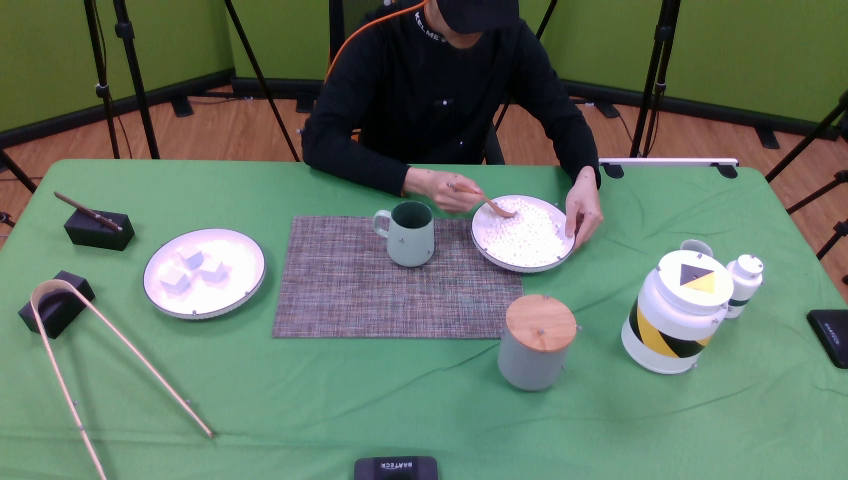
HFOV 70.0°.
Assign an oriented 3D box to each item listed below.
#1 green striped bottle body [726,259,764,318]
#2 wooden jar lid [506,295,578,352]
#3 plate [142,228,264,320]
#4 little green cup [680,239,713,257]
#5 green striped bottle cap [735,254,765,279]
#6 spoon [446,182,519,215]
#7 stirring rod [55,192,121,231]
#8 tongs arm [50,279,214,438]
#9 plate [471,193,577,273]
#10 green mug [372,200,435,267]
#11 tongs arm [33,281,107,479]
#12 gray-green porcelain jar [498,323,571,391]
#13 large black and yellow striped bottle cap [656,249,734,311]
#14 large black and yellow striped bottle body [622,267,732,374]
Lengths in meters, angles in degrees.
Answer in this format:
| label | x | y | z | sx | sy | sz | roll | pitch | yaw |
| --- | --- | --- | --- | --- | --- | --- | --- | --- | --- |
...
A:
| label | x | y | z | sx | sy | sz | roll | pitch | yaw |
| --- | --- | --- | --- | --- | --- | --- | --- | --- | --- |
| green striped bottle body | 0.563 | 0.081 | 1.089 | 0.063 | 0.120 | 0.063 | 2 | 46 | -2 |
| wooden jar lid | 0.179 | 0.129 | 0.926 | 0.108 | 0.021 | 0.107 | 2 | 43 | -2 |
| plate | -0.394 | 0.064 | 1.095 | 0.208 | 0.039 | 0.206 | 2 | 46 | -2 |
| little green cup | 0.530 | 0.033 | 1.190 | 0.061 | 0.039 | 0.061 | 2 | 47 | -2 |
| green striped bottle cap | 0.566 | 0.046 | 1.051 | 0.044 | 0.020 | 0.044 | 0 | 45 | 0 |
| spoon | 0.117 | -0.083 | 1.197 | 0.195 | 0.021 | 0.041 | 23 | 2 | -36 |
| stirring rod | -0.632 | -0.055 | 1.139 | 0.175 | 0.014 | 0.006 | 24 | 50 | 19 |
| tongs arm | -0.459 | 0.178 | 0.949 | 0.386 | 0.028 | 0.028 | 37 | 60 | 17 |
| plate | 0.195 | -0.011 | 1.203 | 0.209 | 0.038 | 0.208 | 2 | 46 | -2 |
| green mug | -0.040 | -0.016 | 1.146 | 0.125 | 0.105 | 0.092 | 17 | 48 | 13 |
| tongs arm | -0.517 | 0.214 | 0.910 | 0.051 | 0.026 | 0.383 | -28 | 63 | -27 |
| gray-green porcelain jar | 0.176 | 0.172 | 0.971 | 0.106 | 0.127 | 0.105 | 2 | 46 | -2 |
| large black and yellow striped bottle cap | 0.419 | 0.061 | 0.938 | 0.115 | 0.019 | 0.114 | 2 | 47 | -2 |
| large black and yellow striped bottle body | 0.415 | 0.119 | 0.997 | 0.131 | 0.185 | 0.130 | 2 | 46 | -2 |
